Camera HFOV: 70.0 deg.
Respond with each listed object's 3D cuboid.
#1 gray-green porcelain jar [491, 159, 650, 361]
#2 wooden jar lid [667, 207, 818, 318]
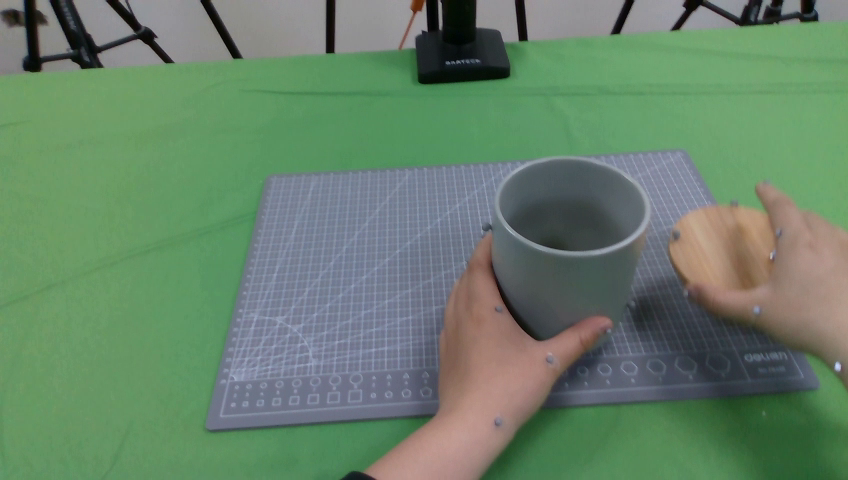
[{"bbox_3d":[0.103,0.020,0.454,0.106,0.128,0.105,-2,44,2],"label":"gray-green porcelain jar"},{"bbox_3d":[0.244,0.019,0.471,0.108,0.021,0.107,-2,47,2],"label":"wooden jar lid"}]
